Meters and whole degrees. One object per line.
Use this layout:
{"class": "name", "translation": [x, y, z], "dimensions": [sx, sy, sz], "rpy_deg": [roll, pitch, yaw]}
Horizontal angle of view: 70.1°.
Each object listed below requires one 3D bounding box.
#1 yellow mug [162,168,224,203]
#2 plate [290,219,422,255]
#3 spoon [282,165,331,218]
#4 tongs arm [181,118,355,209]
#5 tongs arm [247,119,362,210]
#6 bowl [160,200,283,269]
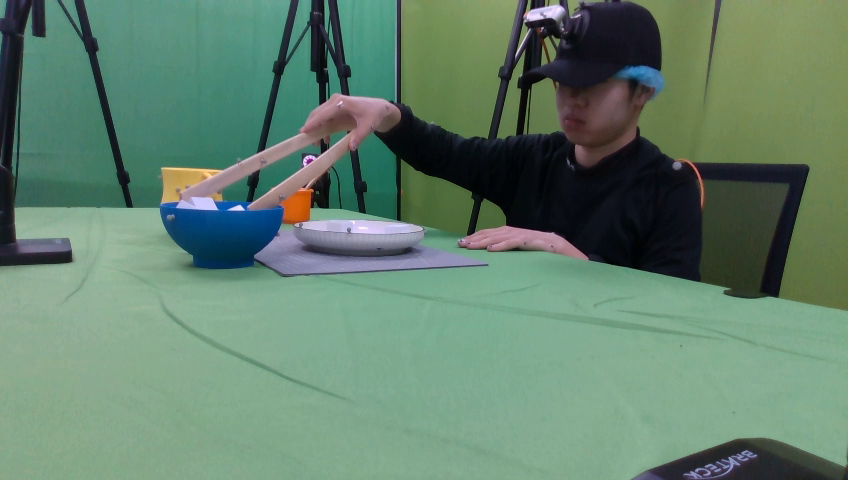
{"class": "yellow mug", "translation": [-0.383, -0.087, 1.026], "dimensions": [0.130, 0.064, 0.100], "rpy_deg": [11, 11, 44]}
{"class": "plate", "translation": [-0.108, -0.005, 0.963], "dimensions": [0.208, 0.039, 0.207], "rpy_deg": [3, 7, 0]}
{"class": "spoon", "translation": [-0.262, -0.115, 1.359], "dimensions": [0.041, 0.194, 0.022], "rpy_deg": [12, -33, 38]}
{"class": "tongs arm", "translation": [-0.222, -0.129, 0.945], "dimensions": [0.050, 0.026, 0.385], "rpy_deg": [12, 30, 19]}
{"class": "tongs arm", "translation": [-0.168, -0.116, 0.928], "dimensions": [0.028, 0.028, 0.388], "rpy_deg": [6, 29, 16]}
{"class": "bowl", "translation": [-0.260, -0.007, 0.782], "dimensions": [0.151, 0.077, 0.151], "rpy_deg": [3, 8, 0]}
